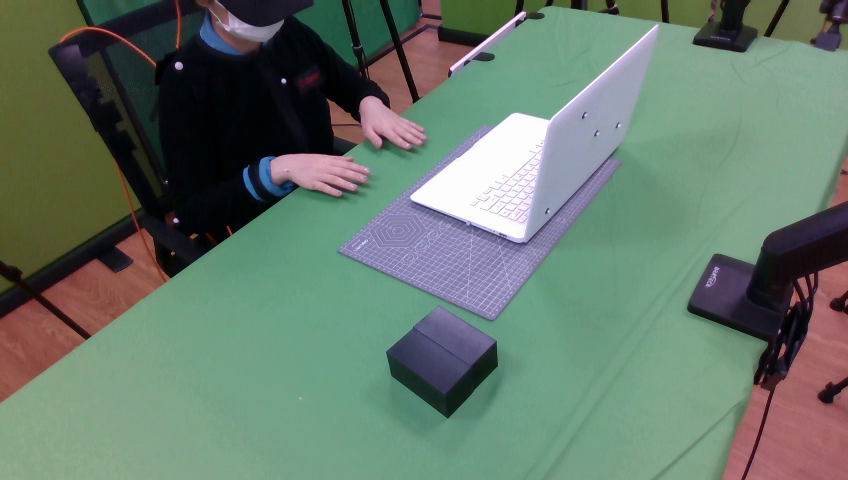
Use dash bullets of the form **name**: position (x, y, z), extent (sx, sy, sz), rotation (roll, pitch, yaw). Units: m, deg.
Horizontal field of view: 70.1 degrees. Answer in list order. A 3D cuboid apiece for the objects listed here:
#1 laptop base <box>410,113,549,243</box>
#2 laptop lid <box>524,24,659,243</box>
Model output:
- **laptop base**: position (0.171, -0.126, 1.096), extent (0.233, 0.023, 0.355), rotation (21, 47, 33)
- **laptop lid**: position (0.266, -0.169, 0.949), extent (0.013, 0.242, 0.358), rotation (30, 50, 25)
